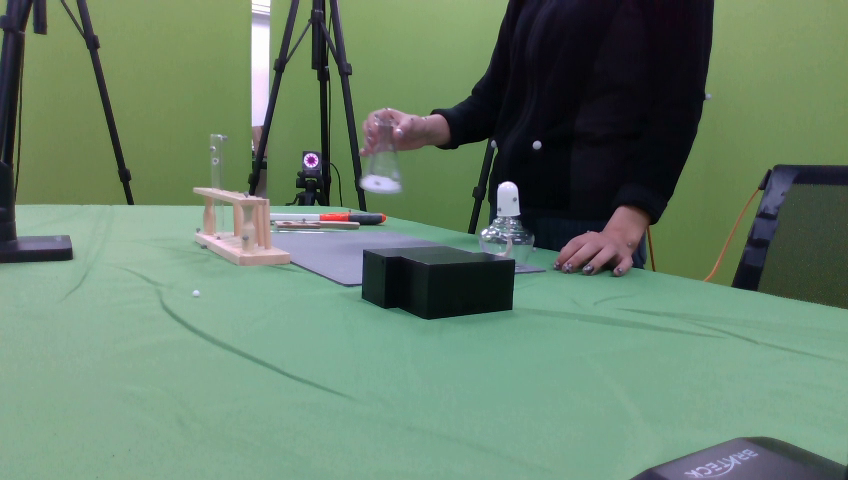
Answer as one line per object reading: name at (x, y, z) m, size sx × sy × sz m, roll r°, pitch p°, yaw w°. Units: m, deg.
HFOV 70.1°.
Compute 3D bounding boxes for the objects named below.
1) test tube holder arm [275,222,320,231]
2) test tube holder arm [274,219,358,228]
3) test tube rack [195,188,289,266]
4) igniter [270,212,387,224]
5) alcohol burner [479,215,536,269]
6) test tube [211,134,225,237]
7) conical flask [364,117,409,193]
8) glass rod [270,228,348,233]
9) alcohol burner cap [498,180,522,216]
test tube holder arm at (-0.238, -0.026, 1.145) m, size 0.088 × 0.015 × 0.010 m, roll -3°, pitch 46°, yaw -39°
test tube holder arm at (-0.206, -0.032, 1.177) m, size 0.179 × 0.015 × 0.013 m, roll -4°, pitch 46°, yaw -40°
test tube rack at (-0.266, -0.025, 0.864) m, size 0.067 × 0.085 × 0.241 m, roll -2°, pitch 9°, yaw -33°
igniter at (-0.213, -0.048, 1.278) m, size 0.278 × 0.025 × 0.057 m, roll -1°, pitch -2°, yaw -25°
alcohol burner at (0.114, -0.021, 0.816) m, size 0.078 × 0.119 × 0.078 m, roll 2°, pitch 9°, yaw 0°
test tube at (-0.300, -0.078, 0.881) m, size 0.017 × 0.150 × 0.017 m, roll 3°, pitch 12°, yaw 0°
conical flask at (-0.062, -0.144, 1.018) m, size 0.075 × 0.122 × 0.075 m, roll 2°, pitch 16°, yaw 0°
glass rod at (-0.235, -0.017, 1.105) m, size 0.201 × 0.008 × 0.008 m, roll 1°, pitch 7°, yaw -26°
alcohol burner cap at (0.114, -0.056, 0.810) m, size 0.034 × 0.048 × 0.034 m, roll -5°, pitch 12°, yaw 1°
